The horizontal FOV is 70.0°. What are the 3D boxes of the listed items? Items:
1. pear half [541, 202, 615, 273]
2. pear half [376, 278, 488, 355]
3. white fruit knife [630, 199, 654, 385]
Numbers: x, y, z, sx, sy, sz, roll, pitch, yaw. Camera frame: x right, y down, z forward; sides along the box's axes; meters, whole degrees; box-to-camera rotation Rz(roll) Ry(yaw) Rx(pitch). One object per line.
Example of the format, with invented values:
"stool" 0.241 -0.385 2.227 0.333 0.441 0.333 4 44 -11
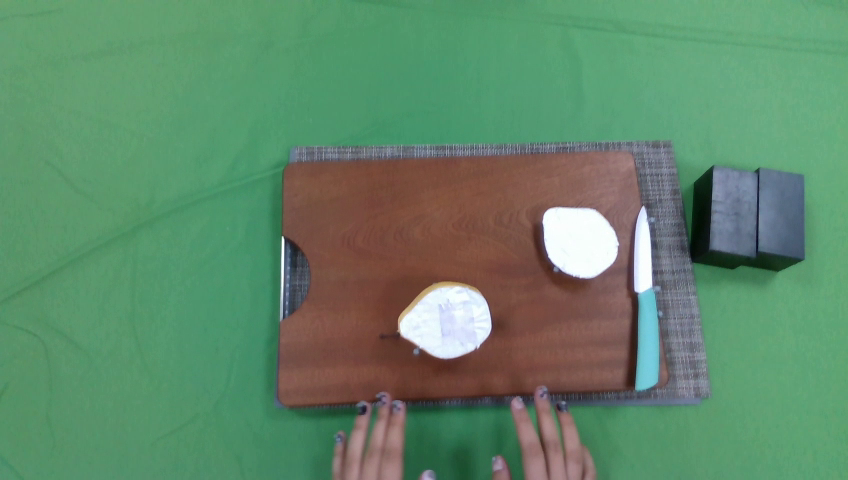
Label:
"pear half" 0.162 -0.004 0.647 0.070 0.031 0.087 -43 66 3
"pear half" 0.005 0.078 0.608 0.110 0.056 0.076 -9 92 -7
"white fruit knife" 0.230 0.051 0.642 0.027 0.016 0.206 11 71 -14
